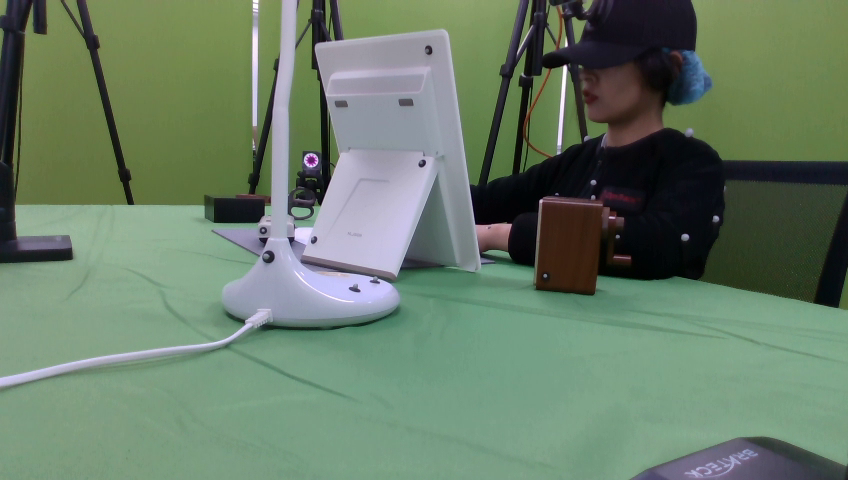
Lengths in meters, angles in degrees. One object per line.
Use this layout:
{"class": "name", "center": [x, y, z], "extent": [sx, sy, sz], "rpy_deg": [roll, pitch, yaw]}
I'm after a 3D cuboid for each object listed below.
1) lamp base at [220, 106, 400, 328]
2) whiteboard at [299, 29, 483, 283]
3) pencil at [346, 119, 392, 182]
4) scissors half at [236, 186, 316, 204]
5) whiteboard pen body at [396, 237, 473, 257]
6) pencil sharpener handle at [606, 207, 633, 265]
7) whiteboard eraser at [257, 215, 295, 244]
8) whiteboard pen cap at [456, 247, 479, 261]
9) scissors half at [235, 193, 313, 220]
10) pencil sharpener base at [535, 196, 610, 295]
{"class": "lamp base", "center": [-0.101, -0.023, 0.531], "extent": [0.160, 0.180, 0.179], "rpy_deg": [4, 10, 10]}
{"class": "whiteboard", "center": [-0.074, -0.082, 0.742], "extent": [0.216, 0.305, 0.144], "rpy_deg": [9, 30, 38]}
{"class": "pencil", "center": [-0.103, -0.170, 1.141], "extent": [0.012, 0.012, 0.194], "rpy_deg": [6, 47, 25]}
{"class": "scissors half", "center": [-0.320, -0.096, 1.316], "extent": [0.176, 0.040, 0.013], "rpy_deg": [-4, 13, -29]}
{"class": "whiteboard pen body", "center": [0.014, 0.012, 0.886], "extent": [0.140, 0.017, 0.017], "rpy_deg": [10, 10, 38]}
{"class": "pencil sharpener handle", "center": [0.223, -0.004, 0.683], "extent": [0.030, 0.068, 0.036], "rpy_deg": [5, 21, 16]}
{"class": "whiteboard eraser", "center": [-0.232, -0.016, 0.951], "extent": [0.056, 0.042, 0.112], "rpy_deg": [2, 7, -12]}
{"class": "whiteboard pen cap", "center": [0.060, 0.020, 0.851], "extent": [0.033, 0.018, 0.018], "rpy_deg": [10, 10, 37]}
{"class": "scissors half", "center": [-0.325, -0.077, 1.320], "extent": [0.176, 0.040, 0.012], "rpy_deg": [17, 8, -32]}
{"class": "pencil sharpener base", "center": [0.172, 0.005, 0.695], "extent": [0.076, 0.107, 0.061], "rpy_deg": [5, 7, 16]}
